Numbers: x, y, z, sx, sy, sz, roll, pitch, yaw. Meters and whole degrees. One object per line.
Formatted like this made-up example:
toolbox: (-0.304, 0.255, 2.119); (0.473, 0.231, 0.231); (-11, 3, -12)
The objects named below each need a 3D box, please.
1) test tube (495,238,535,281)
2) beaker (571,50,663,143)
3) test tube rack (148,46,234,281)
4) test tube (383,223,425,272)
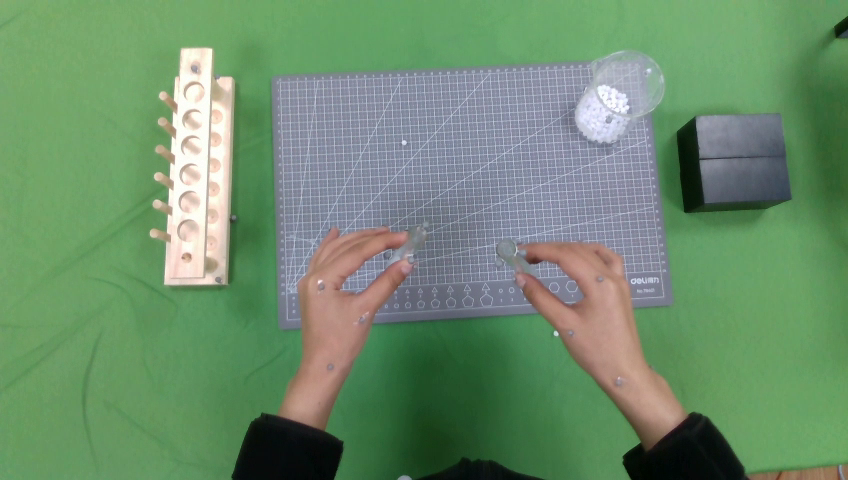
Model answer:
test tube: (0.080, 0.019, 0.522); (0.017, 0.151, 0.017); (-3, 78, 16)
beaker: (0.208, -0.157, 0.679); (0.084, 0.100, 0.074); (34, 81, 5)
test tube rack: (-0.257, -0.079, 0.660); (0.067, 0.085, 0.241); (0, 82, -2)
test tube: (-0.020, 0.010, 0.536); (0.017, 0.150, 0.017); (2, 77, -10)
